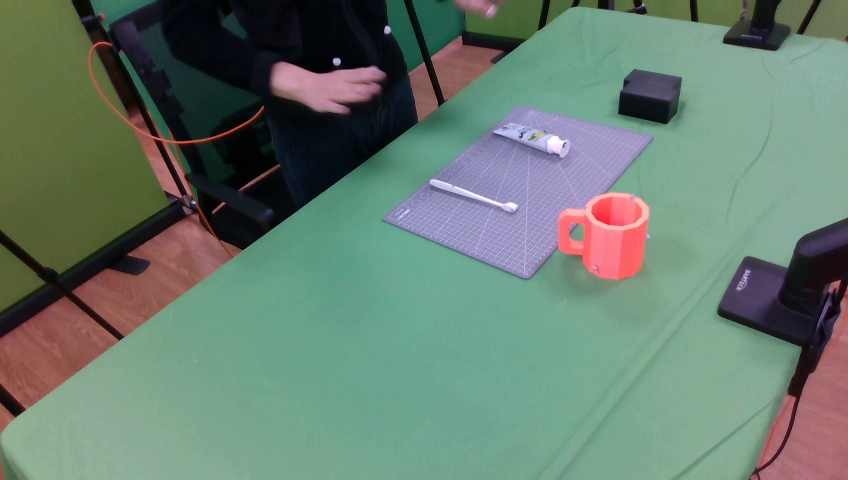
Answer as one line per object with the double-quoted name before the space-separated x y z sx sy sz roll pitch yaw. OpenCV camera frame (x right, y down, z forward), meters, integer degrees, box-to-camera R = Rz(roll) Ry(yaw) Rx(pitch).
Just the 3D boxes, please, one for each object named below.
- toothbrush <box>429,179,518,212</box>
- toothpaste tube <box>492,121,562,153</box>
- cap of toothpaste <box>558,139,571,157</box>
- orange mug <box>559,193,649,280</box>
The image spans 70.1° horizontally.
"toothbrush" 0.084 -0.081 1.063 0.180 0.014 0.017 20 45 30
"toothpaste tube" 0.208 -0.203 1.174 0.055 0.034 0.163 -27 39 -30
"cap of toothpaste" 0.258 -0.171 1.118 0.011 0.037 0.037 26 52 32
"orange mug" 0.261 -0.008 0.884 0.126 0.101 0.083 9 43 14
